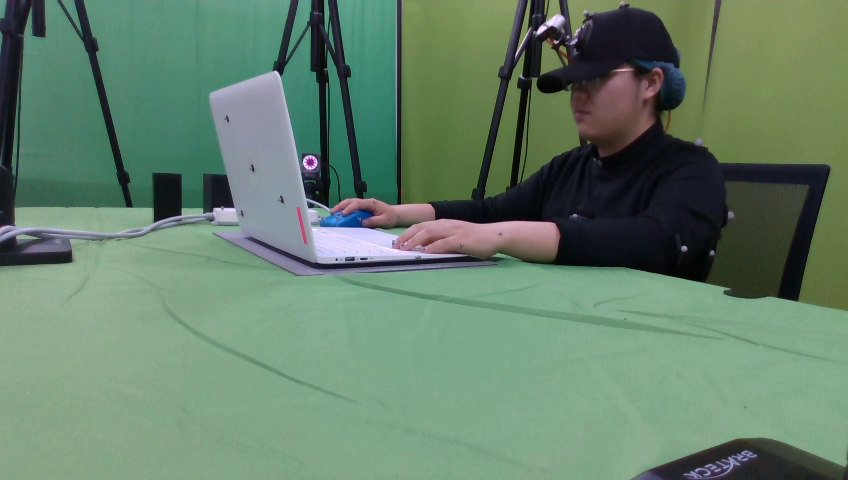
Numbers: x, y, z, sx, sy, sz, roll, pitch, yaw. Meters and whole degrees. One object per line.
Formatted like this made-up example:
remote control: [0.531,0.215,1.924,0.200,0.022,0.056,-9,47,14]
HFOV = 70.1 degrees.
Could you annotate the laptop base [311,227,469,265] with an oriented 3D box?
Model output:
laptop base: [-0.123,0.007,0.952,0.237,0.023,0.352,2,6,-32]

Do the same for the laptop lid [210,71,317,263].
laptop lid: [-0.241,-0.104,0.861,0.013,0.241,0.355,-16,17,-29]

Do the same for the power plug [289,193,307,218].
power plug: [-0.281,-0.076,1.341,0.035,0.052,0.072,3,7,-17]

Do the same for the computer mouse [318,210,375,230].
computer mouse: [-0.161,-0.041,1.264,0.118,0.041,0.062,-8,15,-43]

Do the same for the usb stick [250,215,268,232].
usb stick: [-0.290,-0.028,1.069,0.021,0.027,0.059,0,11,-30]

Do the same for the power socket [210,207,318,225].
power socket: [-0.334,-0.051,1.281,0.228,0.032,0.072,-1,8,-28]
